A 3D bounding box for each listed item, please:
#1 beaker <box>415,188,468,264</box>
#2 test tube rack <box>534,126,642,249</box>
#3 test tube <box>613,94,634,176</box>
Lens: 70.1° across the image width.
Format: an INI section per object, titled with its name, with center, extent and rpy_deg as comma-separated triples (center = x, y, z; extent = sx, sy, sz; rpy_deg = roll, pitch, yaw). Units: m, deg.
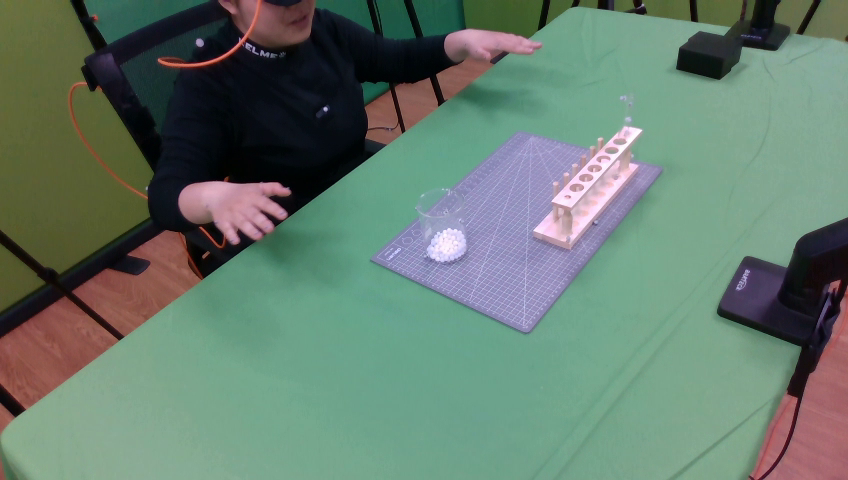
[beaker]
center = 0.031, -0.021, 0.937
extent = 0.073, 0.101, 0.084
rpy_deg = 9, 42, 20
[test tube rack]
center = 0.271, -0.095, 0.989
extent = 0.066, 0.085, 0.243
rpy_deg = 23, 49, 33
[test tube]
center = 0.325, -0.168, 0.989
extent = 0.017, 0.151, 0.017
rpy_deg = -3, 40, 3
